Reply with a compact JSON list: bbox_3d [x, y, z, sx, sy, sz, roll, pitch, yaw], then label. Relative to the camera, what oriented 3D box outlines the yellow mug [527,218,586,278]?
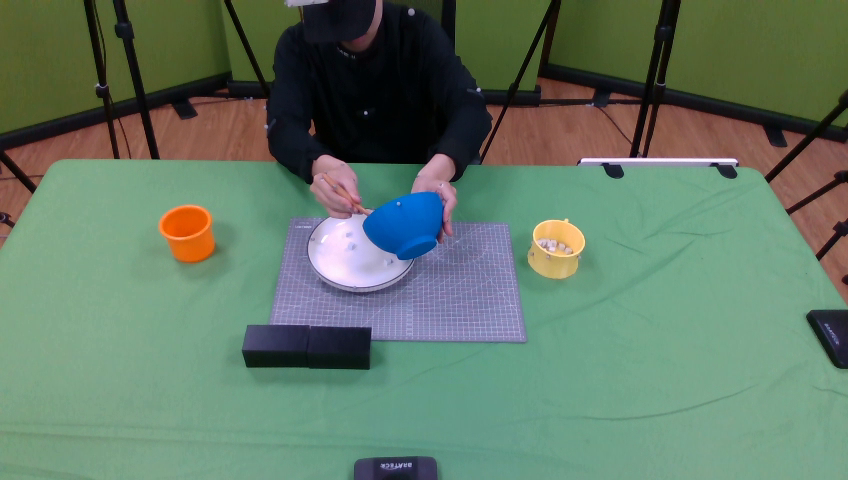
[{"bbox_3d":[0.261,0.006,1.181,0.100,0.064,0.130,18,47,14],"label":"yellow mug"}]

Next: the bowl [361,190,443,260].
[{"bbox_3d":[-0.027,-0.015,1.060,0.151,0.152,0.076,-17,72,-20],"label":"bowl"}]

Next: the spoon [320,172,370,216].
[{"bbox_3d":[-0.106,-0.053,1.059,0.194,0.021,0.041,37,47,-15],"label":"spoon"}]

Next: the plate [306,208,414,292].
[{"bbox_3d":[-0.119,0.021,1.153,0.209,0.038,0.208,2,46,-2],"label":"plate"}]
